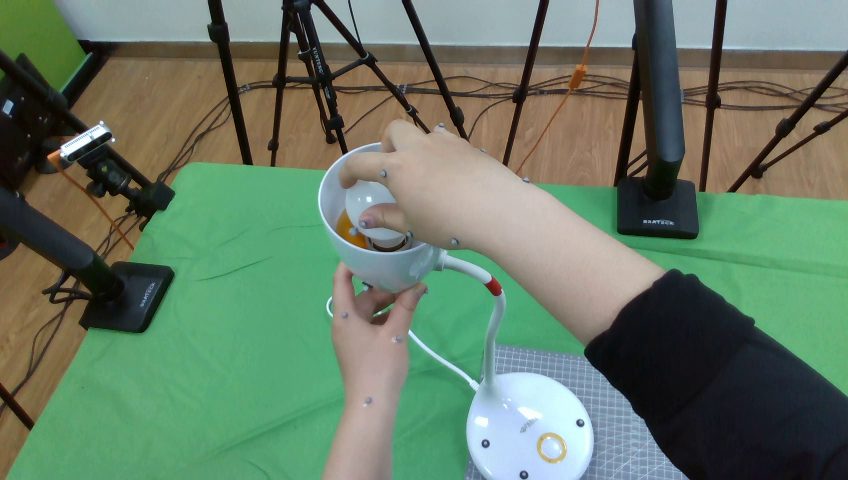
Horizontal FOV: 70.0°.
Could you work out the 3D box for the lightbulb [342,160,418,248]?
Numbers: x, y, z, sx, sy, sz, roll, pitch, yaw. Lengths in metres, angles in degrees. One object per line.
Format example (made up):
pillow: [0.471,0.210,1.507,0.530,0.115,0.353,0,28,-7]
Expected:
lightbulb: [-0.034,-0.021,0.497,0.059,0.108,0.059,0,62,0]

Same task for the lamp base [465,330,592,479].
lamp base: [0.113,0.187,0.721,0.177,0.182,0.160,28,62,29]

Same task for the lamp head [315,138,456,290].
lamp head: [-0.026,-0.009,0.524,0.112,0.124,0.111,-2,57,4]
